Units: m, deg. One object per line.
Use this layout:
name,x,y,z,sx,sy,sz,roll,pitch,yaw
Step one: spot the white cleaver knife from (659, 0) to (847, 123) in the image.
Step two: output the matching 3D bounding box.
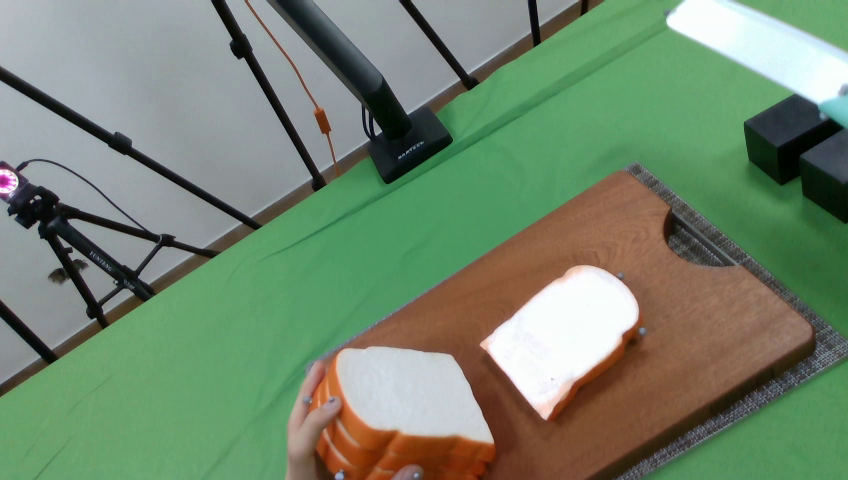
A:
white cleaver knife,0.303,-0.128,0.454,0.066,0.022,0.283,-37,59,-10

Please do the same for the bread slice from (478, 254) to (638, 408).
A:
bread slice,0.122,0.073,0.531,0.131,0.019,0.103,-42,38,0

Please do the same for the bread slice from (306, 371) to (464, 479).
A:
bread slice,-0.034,0.152,0.506,0.018,0.135,0.106,-55,33,20
